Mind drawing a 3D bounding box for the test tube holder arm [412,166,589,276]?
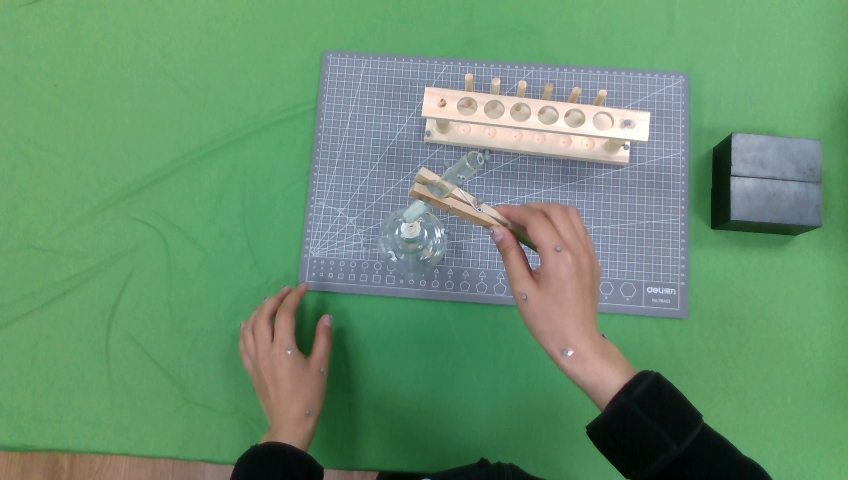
[{"bbox_3d":[0.069,-0.014,0.523,0.179,0.015,0.013,28,71,-14],"label":"test tube holder arm"}]

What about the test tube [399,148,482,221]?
[{"bbox_3d":[0.009,-0.042,0.505,0.017,0.150,0.017,6,74,-21],"label":"test tube"}]

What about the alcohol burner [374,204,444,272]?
[{"bbox_3d":[-0.016,-0.006,0.656,0.078,0.119,0.077,0,79,0],"label":"alcohol burner"}]

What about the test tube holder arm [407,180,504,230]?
[{"bbox_3d":[0.028,-0.029,0.510,0.088,0.015,0.010,21,72,-16],"label":"test tube holder arm"}]

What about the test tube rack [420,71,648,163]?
[{"bbox_3d":[0.121,-0.146,0.691,0.242,0.085,0.066,7,81,2],"label":"test tube rack"}]
